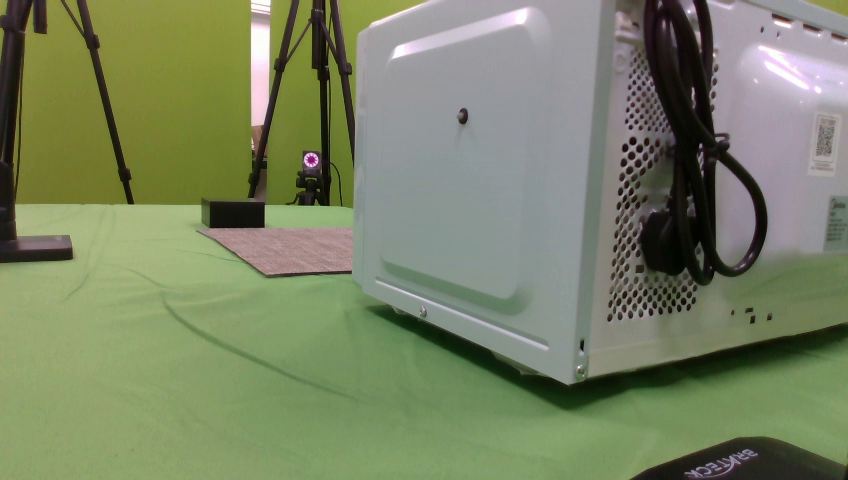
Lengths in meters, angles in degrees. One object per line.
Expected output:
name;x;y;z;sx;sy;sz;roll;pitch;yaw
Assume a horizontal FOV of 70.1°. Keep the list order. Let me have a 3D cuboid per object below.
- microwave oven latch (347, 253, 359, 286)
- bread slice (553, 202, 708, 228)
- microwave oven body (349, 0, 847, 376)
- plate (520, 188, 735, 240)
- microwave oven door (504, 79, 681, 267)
microwave oven latch;-0.034;0.028;0.581;0.079;0.029;0.030;-1;7;-31
bread slice;0.201;-0.026;0.614;0.132;0.019;0.104;2;5;-22
microwave oven body;0.199;-0.053;0.540;0.444;0.260;0.324;-1;7;-32
plate;0.200;-0.028;0.617;0.209;0.038;0.209;4;6;0
microwave oven door;0.235;-0.105;0.926;0.039;0.243;0.354;-1;8;-24
